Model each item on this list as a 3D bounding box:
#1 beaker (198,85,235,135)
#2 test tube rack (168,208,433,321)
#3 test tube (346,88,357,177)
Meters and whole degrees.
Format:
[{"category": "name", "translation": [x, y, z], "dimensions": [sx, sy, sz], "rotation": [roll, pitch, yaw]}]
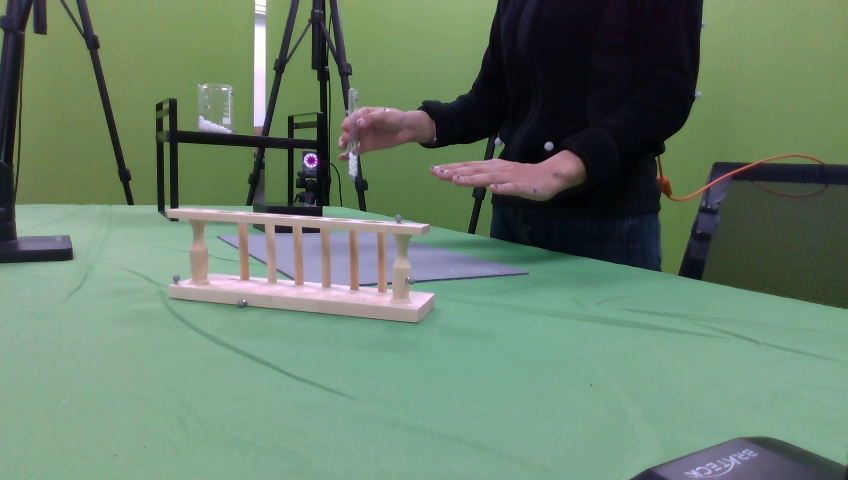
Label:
[{"category": "beaker", "translation": [-0.439, -0.273, 1.275], "dimensions": [0.074, 0.100, 0.084], "rotation": [5, 8, 19]}, {"category": "test tube rack", "translation": [-0.116, 0.017, 0.574], "dimensions": [0.242, 0.085, 0.067], "rotation": [4, 8, 13]}, {"category": "test tube", "translation": [-0.120, -0.178, 0.999], "dimensions": [0.017, 0.150, 0.017], "rotation": [-2, -8, 0]}]
